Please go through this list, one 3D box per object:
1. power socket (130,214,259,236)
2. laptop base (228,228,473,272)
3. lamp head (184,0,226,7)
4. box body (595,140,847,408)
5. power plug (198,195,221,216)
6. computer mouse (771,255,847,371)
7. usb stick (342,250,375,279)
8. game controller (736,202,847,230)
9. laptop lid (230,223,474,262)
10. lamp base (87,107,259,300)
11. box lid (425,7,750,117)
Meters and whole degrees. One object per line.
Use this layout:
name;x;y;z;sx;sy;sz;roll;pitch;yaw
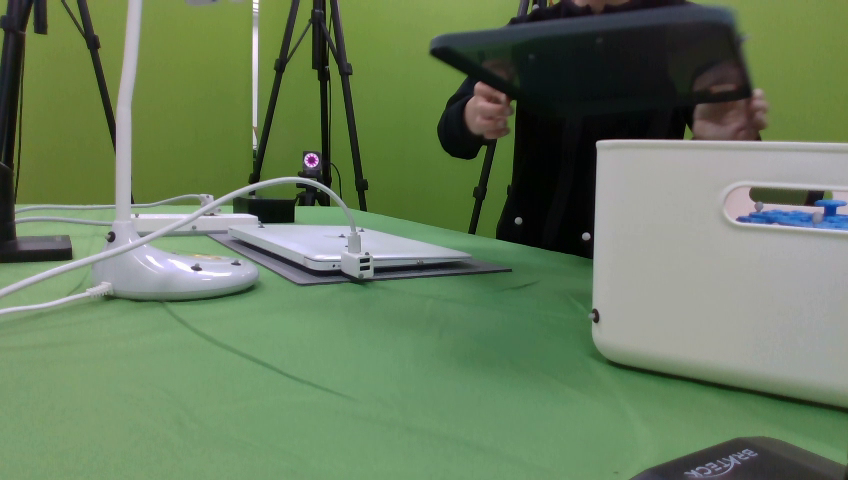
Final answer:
power socket;-0.397;-0.028;1.048;0.228;0.032;0.072;-3;7;-35
laptop base;-0.124;0.012;0.889;0.237;0.023;0.352;2;7;-35
lamp head;-0.229;-0.320;0.627;0.112;0.112;0.123;6;-35;26
box body;0.309;0.006;0.509;0.253;0.160;0.366;6;8;29
power plug;-0.386;-0.055;1.088;0.035;0.052;0.072;-2;6;-24
computer mouse;0.345;0.057;0.519;0.063;0.041;0.117;12;47;4
usb stick;-0.078;0.027;0.686;0.021;0.027;0.059;-7;7;-30
game controller;0.291;0.000;0.426;0.097;0.051;0.155;0;7;5
laptop lid;-0.121;0.000;0.888;0.243;0.013;0.355;1;7;-33
lamp base;-0.254;-0.039;0.603;0.160;0.180;0.179;4;10;18
box lid;0.194;-0.171;0.650;0.262;0.015;0.373;3;2;31
